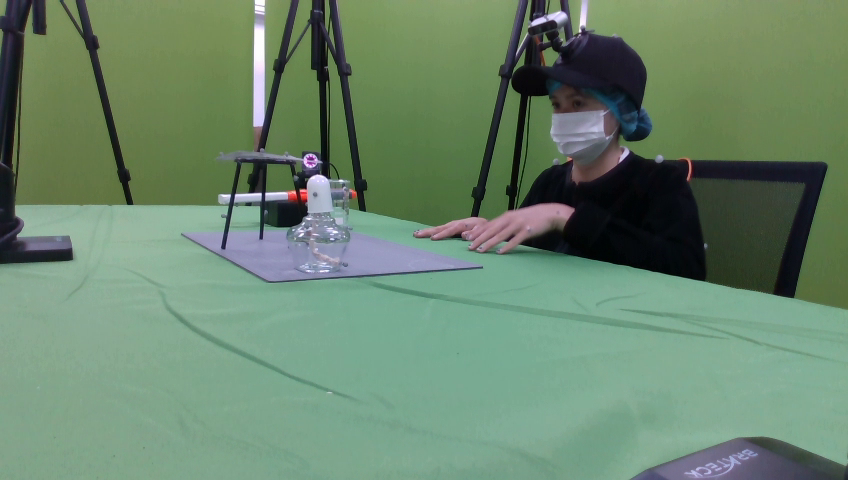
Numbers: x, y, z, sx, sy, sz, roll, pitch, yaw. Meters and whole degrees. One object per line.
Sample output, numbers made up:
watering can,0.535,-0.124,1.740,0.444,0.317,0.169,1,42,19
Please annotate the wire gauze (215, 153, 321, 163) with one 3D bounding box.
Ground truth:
wire gauze,-0.235,-0.123,0.906,0.126,0.011,0.121,-2,7,-33

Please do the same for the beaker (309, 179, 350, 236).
beaker,-0.176,-0.060,1.104,0.073,0.100,0.084,8,10,39

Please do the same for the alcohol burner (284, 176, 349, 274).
alcohol burner,-0.130,-0.019,0.738,0.078,0.119,0.078,4,5,0

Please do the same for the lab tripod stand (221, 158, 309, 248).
lab tripod stand,-0.244,-0.057,0.917,0.148,0.131,0.148,1,7,0

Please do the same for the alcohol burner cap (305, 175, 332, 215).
alcohol burner cap,-0.130,-0.054,0.733,0.034,0.048,0.034,-4,8,1

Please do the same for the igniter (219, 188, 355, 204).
igniter,-0.274,-0.089,1.237,0.278,0.025,0.057,-5,11,-30
